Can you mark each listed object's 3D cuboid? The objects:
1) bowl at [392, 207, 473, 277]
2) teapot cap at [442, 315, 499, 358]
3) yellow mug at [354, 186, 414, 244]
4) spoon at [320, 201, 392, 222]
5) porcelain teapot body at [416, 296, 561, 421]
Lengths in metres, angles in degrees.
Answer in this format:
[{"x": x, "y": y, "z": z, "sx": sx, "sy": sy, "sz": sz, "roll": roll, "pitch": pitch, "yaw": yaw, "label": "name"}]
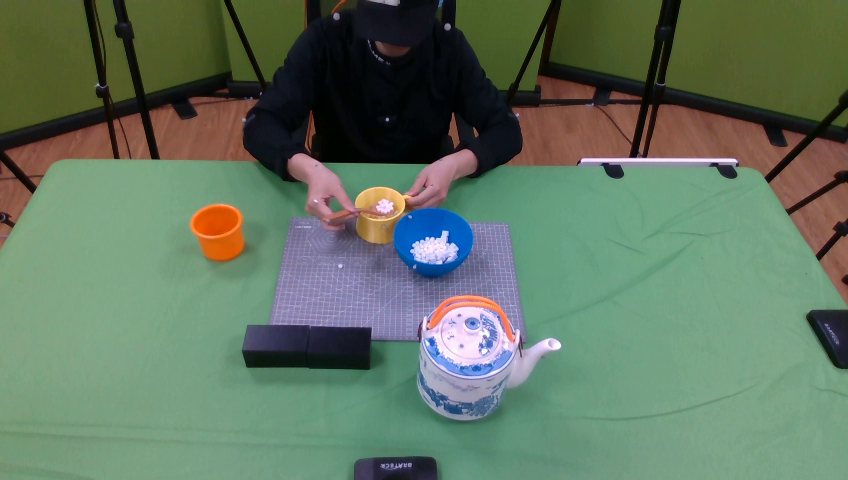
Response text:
[{"x": 0.014, "y": 0.016, "z": 1.140, "sx": 0.151, "sy": 0.077, "sz": 0.150, "roll": 2, "pitch": 46, "yaw": -2, "label": "bowl"}, {"x": 0.068, "y": 0.133, "z": 0.880, "sx": 0.085, "sy": 0.044, "sz": 0.084, "roll": 4, "pitch": 45, "yaw": -4, "label": "teapot cap"}, {"x": -0.076, "y": -0.056, "z": 1.211, "sx": 0.131, "sy": 0.064, "sz": 0.099, "roll": -22, "pitch": 52, "yaw": -25, "label": "yellow mug"}, {"x": -0.126, "y": -0.054, "z": 1.140, "sx": 0.041, "sy": 0.022, "sz": 0.194, "roll": 37, "pitch": 25, "yaw": 24, "label": "spoon"}, {"x": 0.094, "y": 0.164, "z": 0.907, "sx": 0.205, "sy": 0.226, "sz": 0.144, "roll": 6, "pitch": 45, "yaw": 1, "label": "porcelain teapot body"}]
